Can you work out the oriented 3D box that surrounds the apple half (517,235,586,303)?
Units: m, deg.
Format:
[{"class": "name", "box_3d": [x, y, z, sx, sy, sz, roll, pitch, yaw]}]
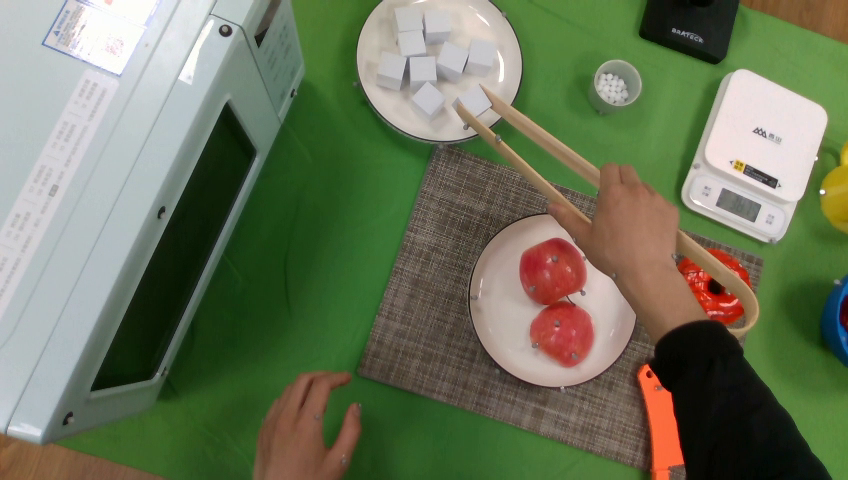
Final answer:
[{"class": "apple half", "box_3d": [0.154, 0.032, 0.720, 0.081, 0.053, 0.074, -19, 81, -9]}]

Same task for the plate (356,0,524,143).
[{"class": "plate", "box_3d": [0.019, -0.219, 0.758, 0.208, 0.039, 0.207, 1, 82, -6]}]

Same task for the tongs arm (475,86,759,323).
[{"class": "tongs arm", "box_3d": [0.188, -0.053, 0.646, 0.028, 0.028, 0.384, -37, 66, -23]}]

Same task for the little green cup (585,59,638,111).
[{"class": "little green cup", "box_3d": [0.239, -0.197, 0.779, 0.061, 0.038, 0.061, 1, 82, -6]}]

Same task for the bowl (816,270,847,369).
[{"class": "bowl", "box_3d": [0.550, 0.102, 0.754, 0.151, 0.077, 0.151, 1, 83, -6]}]

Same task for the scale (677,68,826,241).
[{"class": "scale", "box_3d": [0.429, -0.112, 0.792, 0.149, 0.031, 0.200, 24, 81, -2]}]

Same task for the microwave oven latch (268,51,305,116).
[{"class": "microwave oven latch", "box_3d": [-0.168, -0.189, 0.715, 0.030, 0.029, 0.079, 25, 81, -3]}]

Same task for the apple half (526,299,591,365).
[{"class": "apple half", "box_3d": [0.166, 0.107, 0.721, 0.081, 0.033, 0.081, 0, 82, -3]}]

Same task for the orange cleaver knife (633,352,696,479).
[{"class": "orange cleaver knife", "box_3d": [0.294, 0.242, 0.732, 0.077, 0.012, 0.210, 2, 81, -12]}]

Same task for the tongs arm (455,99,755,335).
[{"class": "tongs arm", "box_3d": [0.172, -0.040, 0.639, 0.051, 0.027, 0.381, -34, 65, -17]}]

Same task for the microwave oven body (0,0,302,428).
[{"class": "microwave oven body", "box_3d": [-0.360, -0.096, 0.584, 0.326, 0.260, 0.440, 22, 81, -3]}]

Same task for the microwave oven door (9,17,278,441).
[{"class": "microwave oven door", "box_3d": [-0.241, -0.003, 0.579, 0.039, 0.244, 0.355, 22, 80, -3]}]

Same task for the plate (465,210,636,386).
[{"class": "plate", "box_3d": [0.149, 0.068, 0.731, 0.209, 0.038, 0.208, 1, 82, -6]}]

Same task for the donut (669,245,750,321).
[{"class": "donut", "box_3d": [0.351, 0.055, 0.751, 0.099, 0.048, 0.099, 0, 83, -3]}]

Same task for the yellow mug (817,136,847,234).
[{"class": "yellow mug", "box_3d": [0.574, -0.076, 0.785, 0.100, 0.064, 0.130, -13, 83, -7]}]
